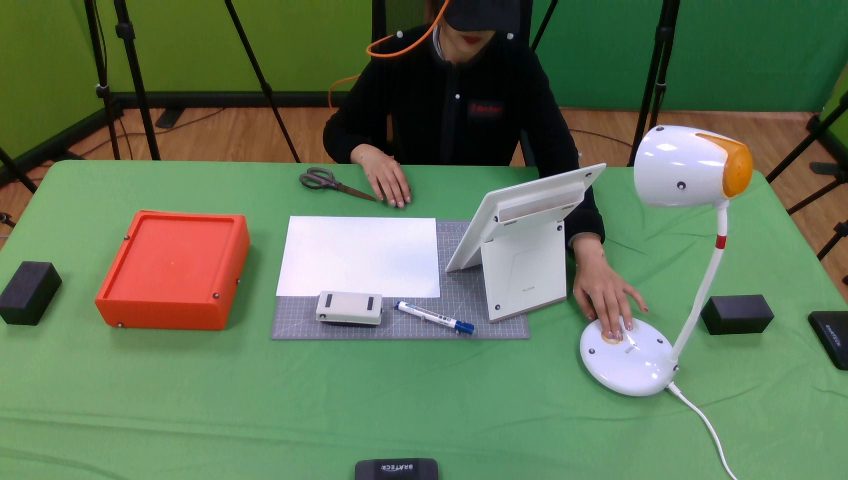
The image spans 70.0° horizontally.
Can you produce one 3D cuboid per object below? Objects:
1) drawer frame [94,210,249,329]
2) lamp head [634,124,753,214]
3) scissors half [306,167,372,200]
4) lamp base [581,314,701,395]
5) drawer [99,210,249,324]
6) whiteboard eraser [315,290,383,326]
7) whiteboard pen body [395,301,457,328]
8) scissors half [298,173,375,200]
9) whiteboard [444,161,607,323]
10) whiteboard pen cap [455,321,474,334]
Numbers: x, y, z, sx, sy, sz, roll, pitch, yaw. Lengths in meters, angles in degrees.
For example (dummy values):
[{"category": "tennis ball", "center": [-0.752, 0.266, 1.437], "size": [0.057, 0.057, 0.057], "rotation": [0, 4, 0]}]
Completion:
[{"category": "drawer frame", "center": [-0.434, 0.048, 1.076], "size": [0.202, 0.083, 0.212], "rotation": [2, 47, -3]}, {"category": "lamp head", "center": [0.350, -0.089, 0.776], "size": [0.112, 0.113, 0.122], "rotation": [-30, 30, -28]}, {"category": "scissors half", "center": [-0.180, -0.121, 1.311], "size": [0.174, 0.013, 0.040], "rotation": [27, 39, 18]}, {"category": "lamp base", "center": [0.361, 0.145, 0.973], "size": [0.178, 0.181, 0.160], "rotation": [34, 53, 23]}, {"category": "drawer", "center": [-0.435, 0.044, 1.081], "size": [0.194, 0.073, 0.210], "rotation": [3, 47, -2]}, {"category": "whiteboard eraser", "center": [-0.130, 0.120, 1.054], "size": [0.113, 0.042, 0.055], "rotation": [4, 48, 0]}, {"category": "whiteboard pen body", "center": [0.015, 0.134, 1.064], "size": [0.140, 0.017, 0.017], "rotation": [17, 47, 16]}, {"category": "scissors half", "center": [-0.188, -0.110, 1.296], "size": [0.175, 0.013, 0.040], "rotation": [15, 42, 5]}, {"category": "whiteboard", "center": [0.186, 0.025, 1.029], "size": [0.217, 0.306, 0.143], "rotation": [-14, 68, -18]}, {"category": "whiteboard pen cap", "center": [0.069, 0.151, 1.046], "size": [0.033, 0.018, 0.018], "rotation": [14, 47, 16]}]
